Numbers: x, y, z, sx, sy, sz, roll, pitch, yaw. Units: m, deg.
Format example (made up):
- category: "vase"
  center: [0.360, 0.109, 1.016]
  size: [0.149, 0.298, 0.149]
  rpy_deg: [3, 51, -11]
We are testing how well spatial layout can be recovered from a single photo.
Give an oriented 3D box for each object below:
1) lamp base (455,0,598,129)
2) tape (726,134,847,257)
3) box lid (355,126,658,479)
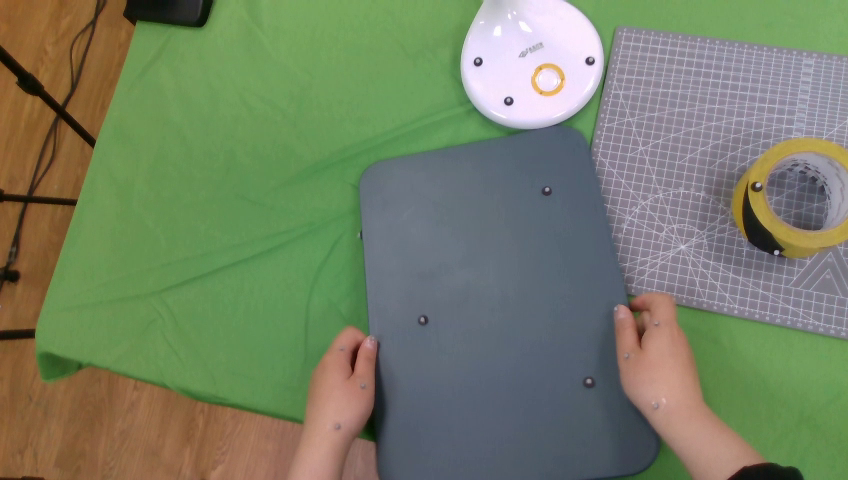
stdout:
- category: "lamp base"
  center: [0.095, -0.227, 0.618]
  size: [0.160, 0.181, 0.178]
  rpy_deg: [-38, 72, -1]
- category: "tape"
  center: [0.365, -0.044, 0.599]
  size: [0.117, 0.053, 0.116]
  rpy_deg: [-2, 77, 8]
- category: "box lid"
  center: [0.066, 0.056, 0.619]
  size: [0.263, 0.015, 0.368]
  rpy_deg: [-10, 67, 7]
